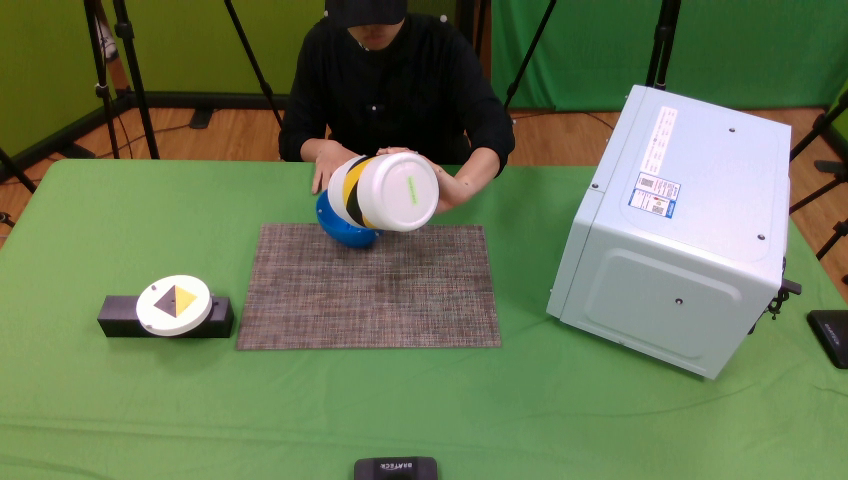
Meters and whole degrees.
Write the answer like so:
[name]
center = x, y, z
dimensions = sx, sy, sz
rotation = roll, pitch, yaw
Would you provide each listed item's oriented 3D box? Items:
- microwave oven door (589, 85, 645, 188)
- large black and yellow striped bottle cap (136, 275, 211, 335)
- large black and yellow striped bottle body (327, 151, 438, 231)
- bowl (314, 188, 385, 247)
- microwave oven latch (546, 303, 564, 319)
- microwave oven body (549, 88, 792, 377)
[microwave oven door]
center = 0.341, -0.107, 1.149
dimensions = 0.039, 0.245, 0.354
rotation = 20, 48, 15
[large black and yellow striped bottle cap]
center = -0.412, 0.105, 0.999
dimensions = 0.115, 0.019, 0.114
rotation = 3, 46, -3
[large black and yellow striped bottle body]
center = -0.078, -0.083, 1.041
dimensions = 0.131, 0.131, 0.183
rotation = -32, 21, -30
[bowl]
center = -0.136, -0.039, 1.180
dimensions = 0.151, 0.077, 0.150
rotation = 2, 46, -2
[microwave oven latch]
center = 0.242, 0.102, 1.081
dimensions = 0.030, 0.029, 0.079
rotation = 21, 48, 17
[microwave oven body]
center = 0.456, -0.028, 1.088
dimensions = 0.325, 0.261, 0.440
rotation = 20, 47, 16
